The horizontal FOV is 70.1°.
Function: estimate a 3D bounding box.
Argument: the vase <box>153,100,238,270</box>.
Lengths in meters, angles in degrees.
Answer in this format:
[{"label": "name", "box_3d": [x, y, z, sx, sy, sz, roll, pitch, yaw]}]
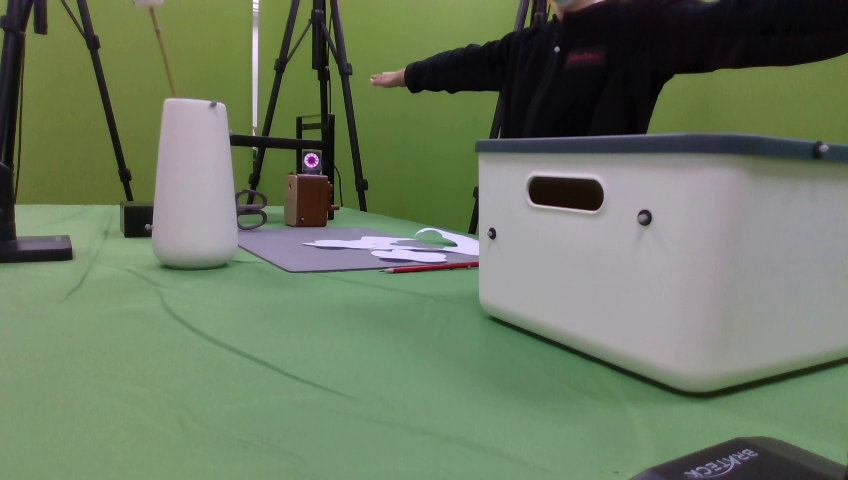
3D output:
[{"label": "vase", "box_3d": [-0.278, -0.066, 0.736, 0.098, 0.200, 0.098, 2, 9, 0]}]

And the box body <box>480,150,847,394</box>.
[{"label": "box body", "box_3d": [0.254, 0.002, 0.539, 0.366, 0.160, 0.253, -2, 8, -31]}]

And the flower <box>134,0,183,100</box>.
[{"label": "flower", "box_3d": [-0.282, -0.147, 0.713, 0.038, 0.362, 0.044, -23, 24, -31]}]

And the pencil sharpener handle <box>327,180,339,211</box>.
[{"label": "pencil sharpener handle", "box_3d": [-0.194, -0.095, 1.256, 0.031, 0.067, 0.036, -2, -5, -36]}]

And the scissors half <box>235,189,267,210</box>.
[{"label": "scissors half", "box_3d": [-0.365, -0.062, 1.067, 0.176, 0.040, 0.013, -12, 15, -28]}]

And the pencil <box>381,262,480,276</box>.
[{"label": "pencil", "box_3d": [0.031, 0.037, 0.794, 0.195, 0.012, 0.012, -4, 10, -31]}]

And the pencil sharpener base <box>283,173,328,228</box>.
[{"label": "pencil sharpener base", "box_3d": [-0.239, -0.081, 1.231, 0.077, 0.107, 0.061, -2, 8, -36]}]

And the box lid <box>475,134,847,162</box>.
[{"label": "box lid", "box_3d": [0.256, -0.073, 0.528, 0.373, 0.015, 0.262, -2, 8, -31]}]

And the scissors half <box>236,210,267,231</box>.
[{"label": "scissors half", "box_3d": [-0.367, -0.042, 1.071, 0.176, 0.040, 0.012, 7, 11, -31]}]
